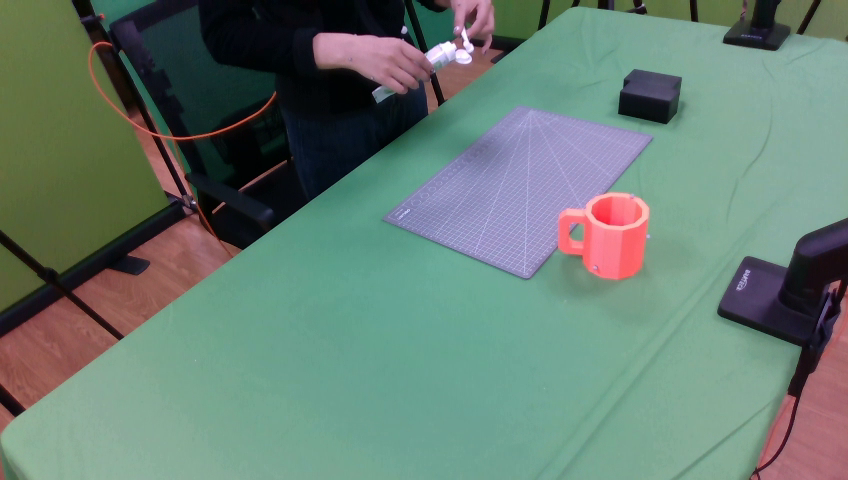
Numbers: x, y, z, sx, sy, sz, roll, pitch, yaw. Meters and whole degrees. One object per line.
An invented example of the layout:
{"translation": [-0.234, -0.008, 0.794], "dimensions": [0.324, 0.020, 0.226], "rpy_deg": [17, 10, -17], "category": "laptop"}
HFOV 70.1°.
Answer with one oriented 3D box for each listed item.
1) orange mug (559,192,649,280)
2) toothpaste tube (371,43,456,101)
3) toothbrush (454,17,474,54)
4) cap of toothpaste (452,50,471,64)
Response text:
{"translation": [0.261, -0.008, 0.884], "dimensions": [0.126, 0.101, 0.083], "rpy_deg": [9, 43, 14], "category": "orange mug"}
{"translation": [-0.016, -0.290, 1.042], "dimensions": [0.165, 0.055, 0.034], "rpy_deg": [-30, 79, 0], "category": "toothpaste tube"}
{"translation": [0.069, -0.378, 1.104], "dimensions": [0.014, 0.017, 0.181], "rpy_deg": [-40, 30, 21], "category": "toothbrush"}
{"translation": [0.065, -0.323, 1.062], "dimensions": [0.037, 0.011, 0.037], "rpy_deg": [7, 48, -7], "category": "cap of toothpaste"}
